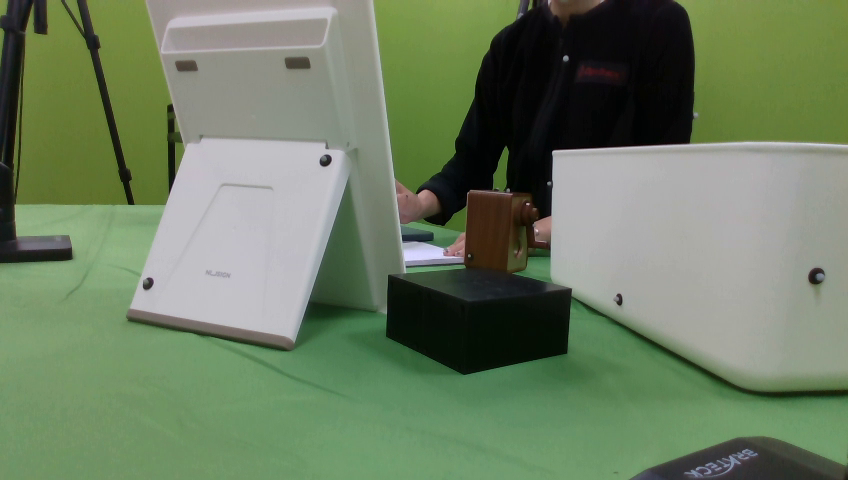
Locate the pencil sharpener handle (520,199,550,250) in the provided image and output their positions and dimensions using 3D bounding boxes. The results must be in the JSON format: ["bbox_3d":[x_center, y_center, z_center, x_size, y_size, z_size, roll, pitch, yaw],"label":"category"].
[{"bbox_3d":[0.147,-0.019,0.785,0.030,0.068,0.036,8,25,36],"label":"pencil sharpener handle"}]

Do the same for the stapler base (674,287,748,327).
[{"bbox_3d":[0.281,0.061,0.586,0.041,0.024,0.131,11,9,37],"label":"stapler base"}]

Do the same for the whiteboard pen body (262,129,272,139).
[{"bbox_3d":[-0.361,-0.245,1.393,0.017,0.017,0.140,0,5,-20],"label":"whiteboard pen body"}]

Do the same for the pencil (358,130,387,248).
[{"bbox_3d":[-0.080,-0.082,0.959,0.012,0.193,0.012,-13,-6,-1],"label":"pencil"}]

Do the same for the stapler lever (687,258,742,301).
[{"bbox_3d":[0.283,0.035,0.585,0.026,0.040,0.119,11,8,37],"label":"stapler lever"}]

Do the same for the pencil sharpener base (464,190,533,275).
[{"bbox_3d":[0.102,-0.012,0.813,0.076,0.107,0.061,8,9,36],"label":"pencil sharpener base"}]

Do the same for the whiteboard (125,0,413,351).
[{"bbox_3d":[-0.151,-0.050,0.471,0.216,0.305,0.144,6,27,24],"label":"whiteboard"}]

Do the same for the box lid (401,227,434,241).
[{"bbox_3d":[-0.196,-0.015,1.105,0.373,0.015,0.262,-1,7,-32],"label":"box lid"}]

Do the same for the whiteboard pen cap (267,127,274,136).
[{"bbox_3d":[-0.340,-0.239,1.337,0.018,0.018,0.033,1,-1,-14],"label":"whiteboard pen cap"}]

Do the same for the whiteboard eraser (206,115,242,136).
[{"bbox_3d":[-0.438,-0.249,1.320,0.056,0.042,0.112,-3,9,-30],"label":"whiteboard eraser"}]

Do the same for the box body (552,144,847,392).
[{"bbox_3d":[0.290,0.002,0.549,0.255,0.160,0.363,2,7,-10],"label":"box body"}]
